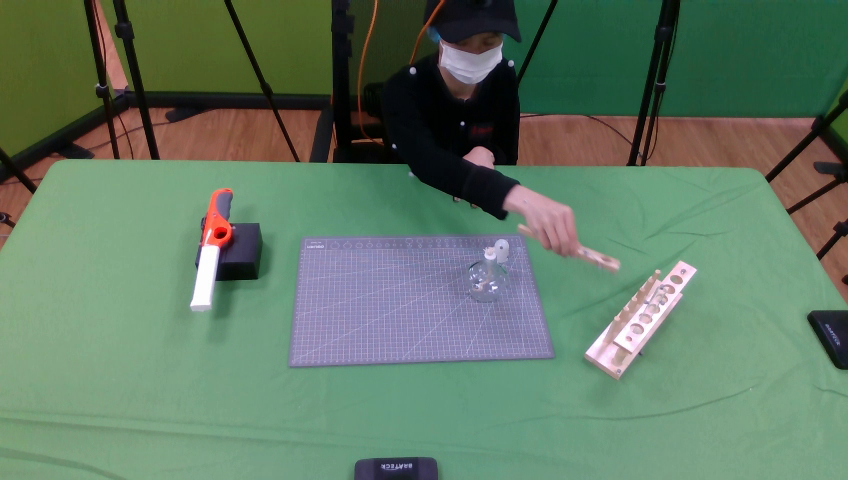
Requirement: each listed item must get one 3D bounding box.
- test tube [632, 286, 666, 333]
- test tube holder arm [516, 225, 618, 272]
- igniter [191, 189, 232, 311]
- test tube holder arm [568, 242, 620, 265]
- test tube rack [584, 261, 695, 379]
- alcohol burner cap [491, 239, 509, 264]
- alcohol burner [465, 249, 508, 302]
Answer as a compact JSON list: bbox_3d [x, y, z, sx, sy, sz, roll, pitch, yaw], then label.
[{"bbox_3d":[0.363,0.125,0.993,0.017,0.151,0.017,2,49,-2],"label":"test tube"},{"bbox_3d":[0.240,0.013,1.022,0.178,0.015,0.013,22,52,14],"label":"test tube holder arm"},{"bbox_3d":[-0.381,0.008,1.092,0.057,0.025,0.274,-1,50,-6],"label":"igniter"},{"bbox_3d":[0.283,0.026,1.014,0.087,0.015,0.010,22,52,14],"label":"test tube holder arm"},{"bbox_3d":[0.380,0.127,1.062,0.066,0.085,0.242,34,53,26],"label":"test tube rack"},{"bbox_3d":[0.150,0.020,1.174,0.034,0.048,0.033,2,46,-1],"label":"alcohol burner cap"},{"bbox_3d":[0.114,0.057,1.085,0.078,0.120,0.077,2,48,-2],"label":"alcohol burner"}]
